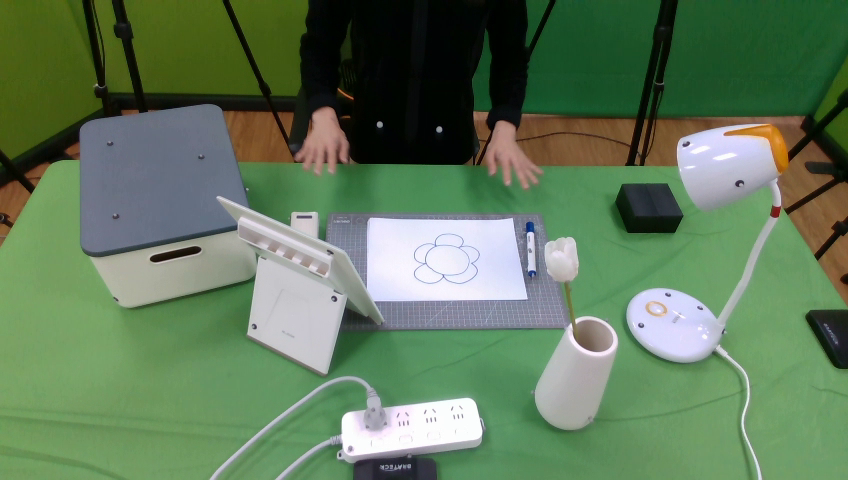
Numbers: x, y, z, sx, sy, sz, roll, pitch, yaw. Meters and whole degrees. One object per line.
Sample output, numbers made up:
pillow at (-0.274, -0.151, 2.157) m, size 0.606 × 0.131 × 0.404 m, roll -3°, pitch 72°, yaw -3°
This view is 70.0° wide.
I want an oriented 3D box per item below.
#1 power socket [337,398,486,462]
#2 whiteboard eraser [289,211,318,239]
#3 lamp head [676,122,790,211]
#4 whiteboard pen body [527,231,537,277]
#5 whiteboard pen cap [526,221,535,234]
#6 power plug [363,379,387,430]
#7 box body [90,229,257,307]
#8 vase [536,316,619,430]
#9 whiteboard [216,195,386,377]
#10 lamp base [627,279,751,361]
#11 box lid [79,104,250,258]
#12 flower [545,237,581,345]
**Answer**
power socket at (-0.018, 0.285, 0.914) m, size 0.227 × 0.033 × 0.071 m, roll -4°, pitch 46°, yaw -8°
whiteboard eraser at (-0.234, -0.007, 1.172) m, size 0.055 × 0.042 × 0.112 m, roll -3°, pitch 46°, yaw -5°
lamp head at (0.423, -0.104, 0.819) m, size 0.122 × 0.113 × 0.112 m, roll -13°, pitch 33°, yaw 40°
whiteboard pen body at (0.211, 0.018, 1.191) m, size 0.017 × 0.017 × 0.140 m, roll 6°, pitch 44°, yaw 2°
whiteboard pen cap at (0.216, -0.022, 1.234) m, size 0.018 × 0.018 × 0.033 m, roll 6°, pitch 44°, yaw 1°
power plug at (-0.071, 0.252, 0.911) m, size 0.035 × 0.053 × 0.072 m, roll 3°, pitch 40°, yaw 0°
box body at (-0.471, -0.070, 1.131) m, size 0.254 × 0.161 × 0.361 m, roll -14°, pitch 49°, yaw -17°
vase at (0.229, 0.200, 0.901) m, size 0.098 × 0.201 × 0.097 m, roll 3°, pitch 46°, yaw -3°
whiteboard at (-0.212, 0.093, 0.938) m, size 0.216 × 0.307 × 0.143 m, roll 24°, pitch 70°, yaw 17°
lamp base at (0.460, 0.100, 1.027) m, size 0.178 × 0.181 × 0.160 m, roll 27°, pitch 51°, yaw 17°
box lid at (-0.467, -0.121, 1.075) m, size 0.264 × 0.015 × 0.369 m, roll -13°, pitch 49°, yaw -17°
flower at (0.213, 0.137, 0.846) m, size 0.038 × 0.364 × 0.044 m, roll 22°, pitch 55°, yaw 40°
